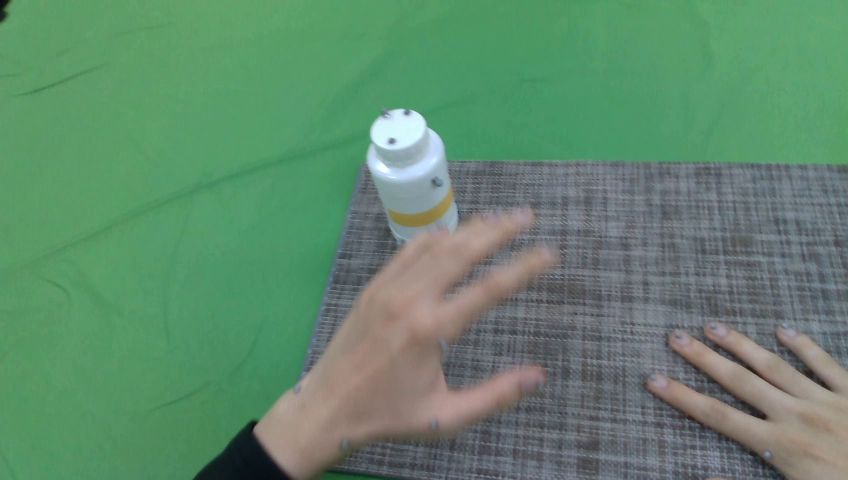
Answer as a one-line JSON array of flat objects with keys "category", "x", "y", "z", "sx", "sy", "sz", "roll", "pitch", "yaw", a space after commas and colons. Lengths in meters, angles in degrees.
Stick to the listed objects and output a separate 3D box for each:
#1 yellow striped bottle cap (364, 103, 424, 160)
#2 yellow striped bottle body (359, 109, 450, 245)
[{"category": "yellow striped bottle cap", "x": -0.023, "y": -0.083, "z": 0.463, "sx": 0.044, "sy": 0.019, "sz": 0.044, "roll": -6, "pitch": 54, "yaw": 9}, {"category": "yellow striped bottle body", "x": -0.016, "y": -0.054, "z": 0.505, "sx": 0.063, "sy": 0.121, "sz": 0.062, "roll": -5, "pitch": 55, "yaw": 7}]
